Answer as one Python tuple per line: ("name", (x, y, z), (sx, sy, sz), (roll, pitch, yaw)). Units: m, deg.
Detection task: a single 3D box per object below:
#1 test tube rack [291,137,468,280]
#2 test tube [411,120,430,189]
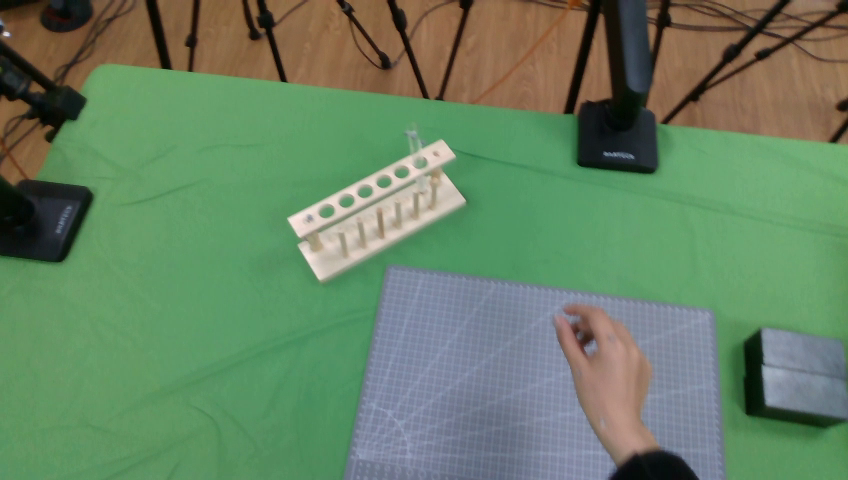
("test tube rack", (-0.054, -0.044, 0.841), (0.242, 0.086, 0.066), (-29, 66, -14))
("test tube", (-0.004, -0.112, 0.822), (0.017, 0.151, 0.017), (-2, 64, 4))
